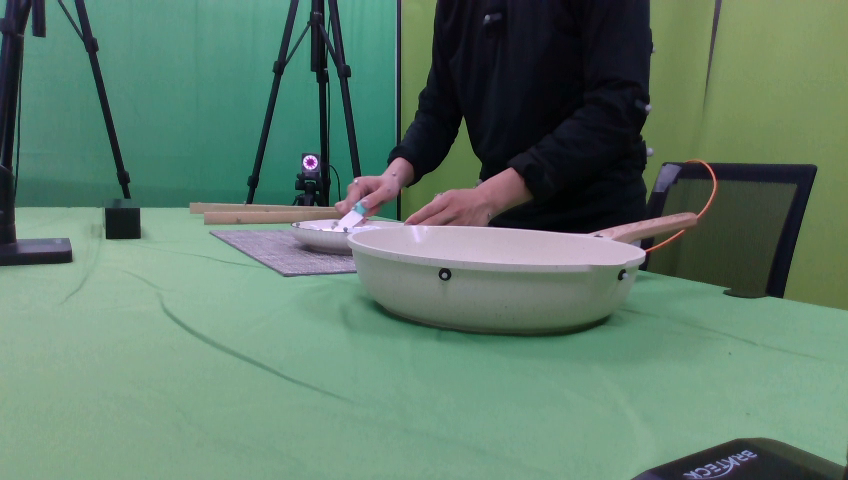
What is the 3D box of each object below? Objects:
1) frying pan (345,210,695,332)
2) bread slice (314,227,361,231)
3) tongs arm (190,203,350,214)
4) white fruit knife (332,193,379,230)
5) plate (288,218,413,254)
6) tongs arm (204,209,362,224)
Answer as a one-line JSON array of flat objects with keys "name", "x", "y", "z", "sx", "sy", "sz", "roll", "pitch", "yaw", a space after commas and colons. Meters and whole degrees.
[{"name": "frying pan", "x": 0.153, "y": 0.009, "z": 0.668, "sx": 0.490, "sy": 0.102, "sz": 0.305, "roll": -12, "pitch": 15, "yaw": -32}, {"name": "bread slice", "x": -0.115, "y": -0.007, "z": 0.949, "sx": 0.134, "sy": 0.018, "sz": 0.107, "roll": 1, "pitch": 5, "yaw": -6}, {"name": "tongs arm", "x": -0.333, "y": -0.069, "z": 1.403, "sx": 0.387, "sy": 0.026, "sz": 0.050, "roll": -1, "pitch": 9, "yaw": -28}, {"name": "white fruit knife", "x": -0.113, "y": -0.047, "z": 0.998, "sx": 0.027, "sy": 0.016, "sz": 0.207, "roll": 45, "pitch": 21, "yaw": -5}, {"name": "plate", "x": -0.109, "y": -0.007, "z": 0.956, "sx": 0.208, "sy": 0.039, "sz": 0.207, "roll": 2, "pitch": 7, "yaw": 0}, {"name": "tongs arm", "x": -0.292, "y": -0.054, "z": 1.337, "sx": 0.390, "sy": 0.028, "sz": 0.028, "roll": -4, "pitch": 7, "yaw": -40}]
